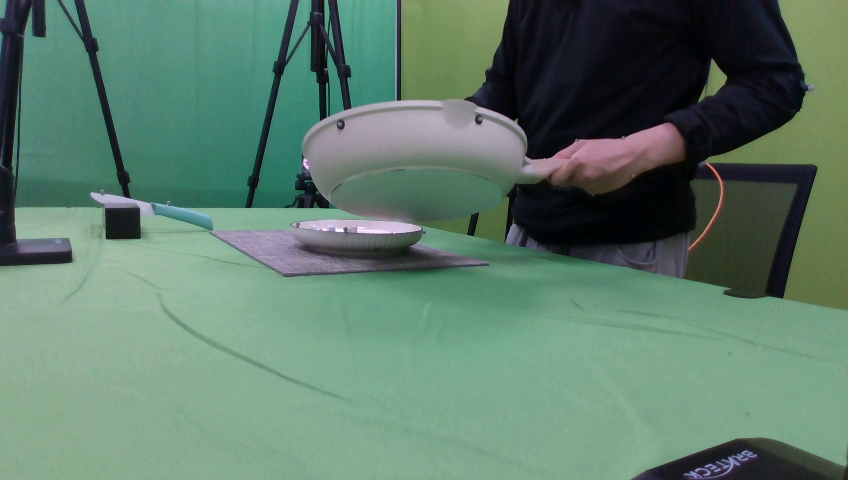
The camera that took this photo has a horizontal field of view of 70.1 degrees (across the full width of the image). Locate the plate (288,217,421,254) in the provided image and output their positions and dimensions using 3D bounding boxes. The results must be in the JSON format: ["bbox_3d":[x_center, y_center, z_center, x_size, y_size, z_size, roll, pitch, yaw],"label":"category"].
[{"bbox_3d":[-0.109,-0.008,0.956,0.208,0.039,0.207,2,8,0],"label":"plate"}]

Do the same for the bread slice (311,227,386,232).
[{"bbox_3d":[-0.115,-0.005,0.950,0.134,0.018,0.107,4,6,-7],"label":"bread slice"}]

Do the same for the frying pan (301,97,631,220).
[{"bbox_3d":[0.085,-0.099,0.825,0.490,0.102,0.306,-6,-11,-21],"label":"frying pan"}]

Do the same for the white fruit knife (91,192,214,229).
[{"bbox_3d":[-0.478,-0.055,1.078,0.208,0.027,0.016,14,1,-30],"label":"white fruit knife"}]

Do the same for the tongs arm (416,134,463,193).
[{"bbox_3d":[0.029,-0.130,0.961,0.028,0.028,0.388,-9,15,14],"label":"tongs arm"}]

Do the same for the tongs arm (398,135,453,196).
[{"bbox_3d":[0.010,-0.128,0.965,0.051,0.026,0.385,-8,16,8],"label":"tongs arm"}]
